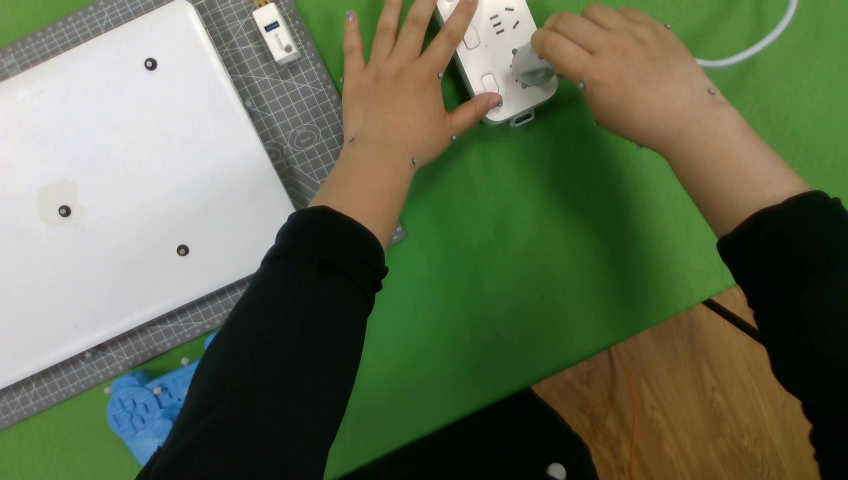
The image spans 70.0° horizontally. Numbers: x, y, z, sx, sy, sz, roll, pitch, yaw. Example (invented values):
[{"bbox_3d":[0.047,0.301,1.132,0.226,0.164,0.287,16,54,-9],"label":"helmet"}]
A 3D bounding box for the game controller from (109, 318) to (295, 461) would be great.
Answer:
[{"bbox_3d":[-0.206,0.136,0.548,0.155,0.051,0.097,-24,92,1],"label":"game controller"}]

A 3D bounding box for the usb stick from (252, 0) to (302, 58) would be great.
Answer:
[{"bbox_3d":[-0.128,-0.188,0.514,0.021,0.027,0.059,-25,95,4],"label":"usb stick"}]

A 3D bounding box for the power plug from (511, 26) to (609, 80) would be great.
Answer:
[{"bbox_3d":[0.107,-0.149,0.491,0.073,0.052,0.035,-5,99,-6],"label":"power plug"}]

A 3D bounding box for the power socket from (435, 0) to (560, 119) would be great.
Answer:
[{"bbox_3d":[0.046,-0.213,0.516,0.072,0.032,0.227,-24,98,3],"label":"power socket"}]

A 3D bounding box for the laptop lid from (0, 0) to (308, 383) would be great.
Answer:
[{"bbox_3d":[-0.307,-0.032,0.524,0.357,0.013,0.242,-23,100,1],"label":"laptop lid"}]

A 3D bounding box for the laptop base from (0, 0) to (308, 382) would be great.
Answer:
[{"bbox_3d":[-0.308,-0.035,0.535,0.354,0.023,0.236,-25,101,1],"label":"laptop base"}]
